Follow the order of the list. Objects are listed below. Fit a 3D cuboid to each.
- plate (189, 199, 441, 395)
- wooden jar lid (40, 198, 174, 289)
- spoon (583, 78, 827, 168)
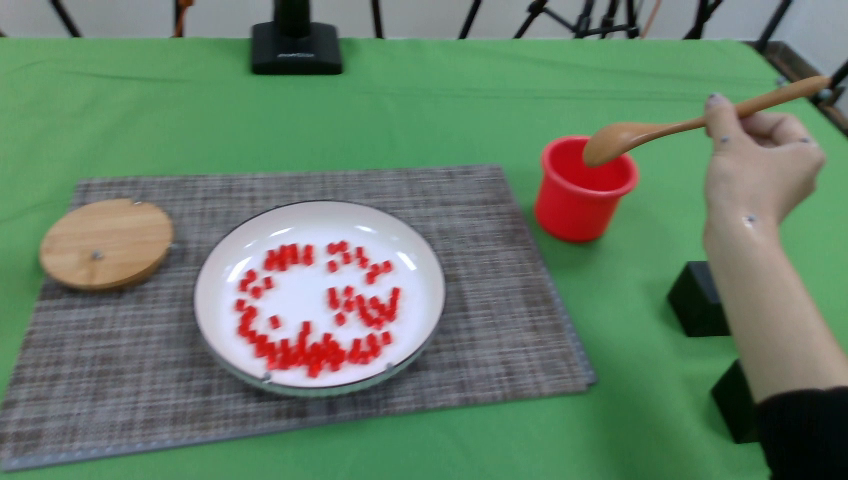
[{"bbox_3d":[-0.090,0.047,0.523,0.208,0.039,0.205,5,45,-4],"label":"plate"},{"bbox_3d":[-0.283,0.003,0.547,0.108,0.021,0.107,5,44,-5],"label":"wooden jar lid"},{"bbox_3d":[0.213,-0.094,0.489,0.193,0.022,0.041,-11,52,40],"label":"spoon"}]
